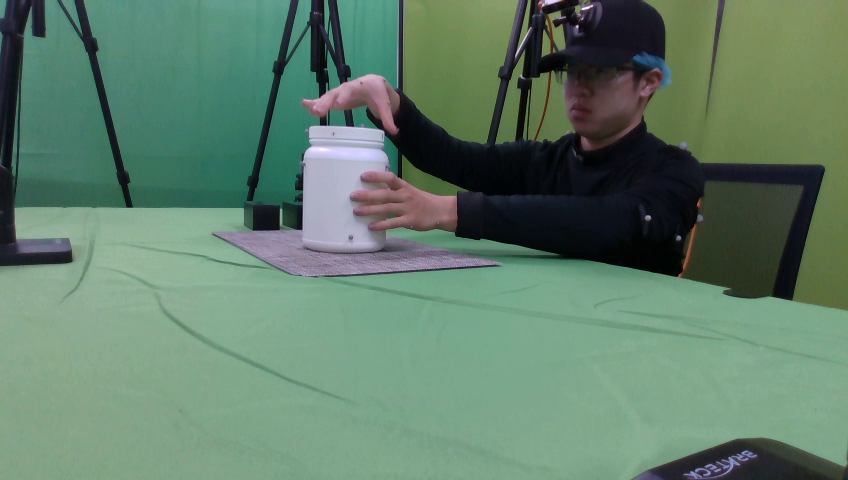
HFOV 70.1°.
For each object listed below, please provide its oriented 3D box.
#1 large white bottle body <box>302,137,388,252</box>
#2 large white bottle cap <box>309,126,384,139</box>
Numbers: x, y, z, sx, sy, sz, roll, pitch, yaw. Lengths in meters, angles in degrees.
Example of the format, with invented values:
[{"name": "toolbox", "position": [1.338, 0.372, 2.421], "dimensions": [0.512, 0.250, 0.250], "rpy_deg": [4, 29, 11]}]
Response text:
[{"name": "large white bottle body", "position": [-0.122, -0.080, 0.937], "dimensions": [0.131, 0.184, 0.130], "rpy_deg": [2, 7, 0]}, {"name": "large white bottle cap", "position": [-0.119, -0.163, 0.926], "dimensions": [0.115, 0.018, 0.115], "rpy_deg": [1, 7, 0]}]
